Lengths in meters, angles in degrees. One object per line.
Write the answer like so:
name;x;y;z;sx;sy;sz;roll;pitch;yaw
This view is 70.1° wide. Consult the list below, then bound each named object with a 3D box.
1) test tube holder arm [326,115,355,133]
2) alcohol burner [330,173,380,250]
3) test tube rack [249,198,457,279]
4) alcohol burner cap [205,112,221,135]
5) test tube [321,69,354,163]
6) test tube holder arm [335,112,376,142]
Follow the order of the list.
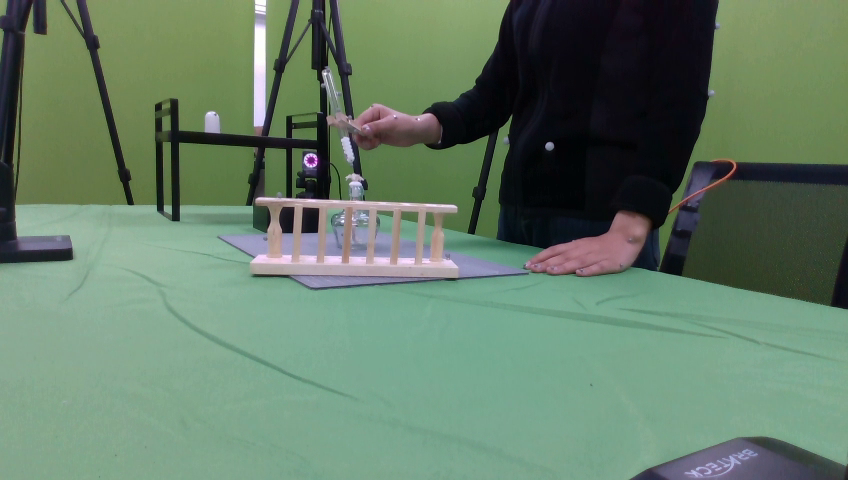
test tube holder arm;-0.128;-0.183;0.959;0.010;0.015;0.088;-16;-5;21
alcohol burner;-0.107;-0.044;0.938;0.078;0.119;0.078;1;6;0
test tube rack;-0.082;-0.002;0.732;0.243;0.085;0.066;2;8;-7
alcohol burner cap;-0.443;-0.245;1.270;0.034;0.048;0.034;3;8;0
test tube;-0.133;-0.192;0.937;0.017;0.150;0.017;-15;-4;-1
test tube holder arm;-0.110;-0.184;1.000;0.013;0.015;0.179;-15;-5;14
